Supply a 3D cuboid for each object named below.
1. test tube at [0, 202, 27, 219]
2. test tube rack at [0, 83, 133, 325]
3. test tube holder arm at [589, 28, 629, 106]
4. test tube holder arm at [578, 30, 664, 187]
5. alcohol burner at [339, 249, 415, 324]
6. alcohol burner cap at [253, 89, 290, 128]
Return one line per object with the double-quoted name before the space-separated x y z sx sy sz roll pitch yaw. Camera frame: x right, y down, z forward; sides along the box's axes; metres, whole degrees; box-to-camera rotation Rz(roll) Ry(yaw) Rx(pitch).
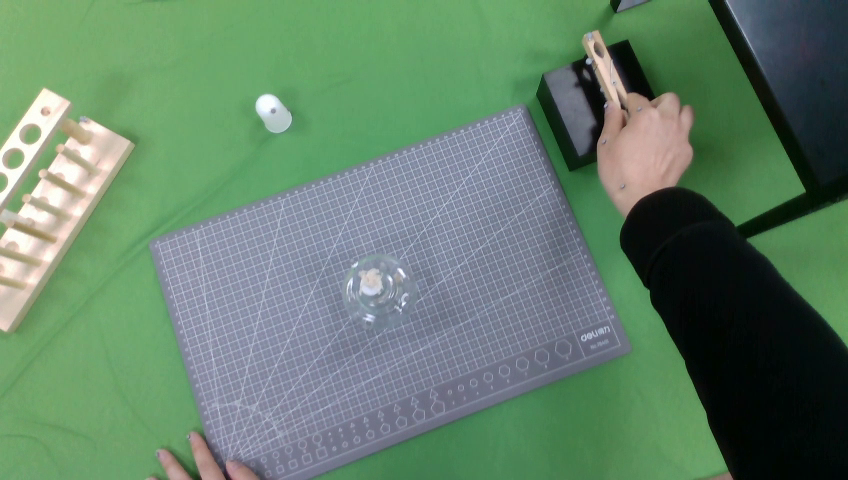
"test tube" -0.440 -0.043 0.590 0.017 0.151 0.017 0 75 1
"test tube rack" -0.420 -0.034 0.638 0.066 0.085 0.242 28 81 6
"test tube holder arm" 0.189 -0.178 0.623 0.010 0.015 0.087 -18 79 -4
"test tube holder arm" 0.199 -0.134 0.614 0.013 0.015 0.177 -20 79 -4
"alcohol burner" -0.049 0.044 0.603 0.078 0.119 0.077 -1 78 3
"alcohol burner cap" -0.172 -0.150 0.676 0.034 0.048 0.033 -1 76 5
